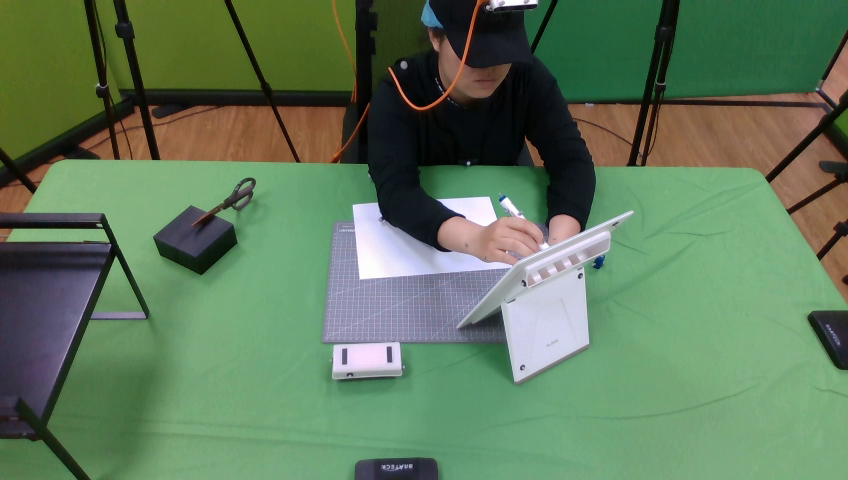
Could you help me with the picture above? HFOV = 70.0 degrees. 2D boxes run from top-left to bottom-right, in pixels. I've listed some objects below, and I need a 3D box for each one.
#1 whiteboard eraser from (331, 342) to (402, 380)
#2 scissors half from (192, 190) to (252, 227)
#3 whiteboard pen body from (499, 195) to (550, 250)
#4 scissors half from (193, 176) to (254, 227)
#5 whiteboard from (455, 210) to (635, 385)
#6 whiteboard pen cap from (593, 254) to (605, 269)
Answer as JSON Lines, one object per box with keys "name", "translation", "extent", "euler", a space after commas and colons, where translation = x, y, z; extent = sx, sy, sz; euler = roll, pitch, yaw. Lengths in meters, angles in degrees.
{"name": "whiteboard eraser", "translation": [-0.094, 0.198, 0.986], "extent": [0.113, 0.042, 0.055], "euler": [-2, 44, -6]}
{"name": "scissors half", "translation": [-0.393, -0.060, 1.187], "extent": [0.013, 0.040, 0.175], "euler": [25, 29, 12]}
{"name": "whiteboard pen body", "translation": [0.171, -0.017, 0.983], "extent": [0.017, 0.017, 0.140], "euler": [-37, 84, -33]}
{"name": "scissors half", "translation": [-0.388, -0.075, 1.174], "extent": [0.013, 0.040, 0.174], "euler": [29, 47, 8]}
{"name": "whiteboard", "translation": [0.211, 0.111, 0.955], "extent": [0.217, 0.306, 0.143], "euler": [-21, 71, -23]}
{"name": "whiteboard pen cap", "translation": [0.341, 0.042, 1.179], "extent": [0.018, 0.033, 0.018], "euler": [2, 46, -1]}
